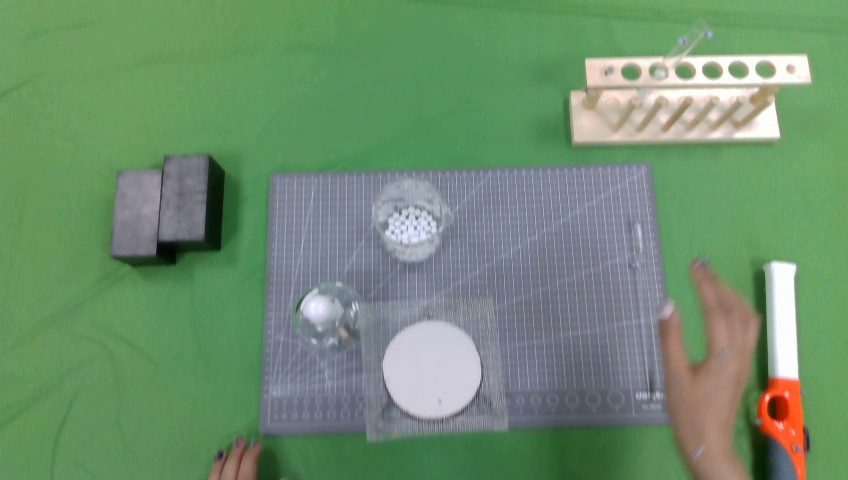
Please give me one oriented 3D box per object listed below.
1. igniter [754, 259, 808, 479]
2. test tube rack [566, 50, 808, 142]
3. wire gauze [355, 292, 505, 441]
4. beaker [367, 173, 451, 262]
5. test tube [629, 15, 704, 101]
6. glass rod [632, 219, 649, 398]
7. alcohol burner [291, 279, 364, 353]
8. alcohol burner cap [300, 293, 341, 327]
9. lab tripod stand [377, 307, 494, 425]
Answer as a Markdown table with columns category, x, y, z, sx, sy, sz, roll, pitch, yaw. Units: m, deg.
| category | x | y | z | sx | sy | sz | roll | pitch | yaw |
| --- | --- | --- | --- | --- | --- | --- | --- | --- | --- |
| igniter | 0.379 | 0.156 | 0.646 | 0.057 | 0.025 | 0.275 | 8 | 77 | -8 |
| test tube rack | 0.294 | -0.162 | 0.693 | 0.242 | 0.085 | 0.066 | -1 | 76 | 0 |
| wire gauze | 0.004 | 0.109 | 0.533 | 0.125 | 0.011 | 0.121 | -5 | 75 | -1 |
| beaker | -0.014 | -0.019 | 0.650 | 0.084 | 0.100 | 0.073 | 7 | 76 | 2 |
| test tube | 0.255 | -0.190 | 0.650 | 0.017 | 0.151 | 0.017 | 1 | 75 | -4 |
| glass rod | 0.241 | 0.073 | 0.673 | 0.008 | 0.008 | 0.199 | 0 | 79 | 0 |
| alcohol burner | -0.101 | 0.075 | 0.621 | 0.078 | 0.120 | 0.077 | 0 | 74 | 1 |
| alcohol burner cap | -0.102 | 0.067 | 0.585 | 0.034 | 0.048 | 0.033 | -1 | 80 | 6 |
| lab tripod stand | 0.006 | 0.129 | 0.597 | 0.148 | 0.132 | 0.147 | 0 | 75 | 2 |
